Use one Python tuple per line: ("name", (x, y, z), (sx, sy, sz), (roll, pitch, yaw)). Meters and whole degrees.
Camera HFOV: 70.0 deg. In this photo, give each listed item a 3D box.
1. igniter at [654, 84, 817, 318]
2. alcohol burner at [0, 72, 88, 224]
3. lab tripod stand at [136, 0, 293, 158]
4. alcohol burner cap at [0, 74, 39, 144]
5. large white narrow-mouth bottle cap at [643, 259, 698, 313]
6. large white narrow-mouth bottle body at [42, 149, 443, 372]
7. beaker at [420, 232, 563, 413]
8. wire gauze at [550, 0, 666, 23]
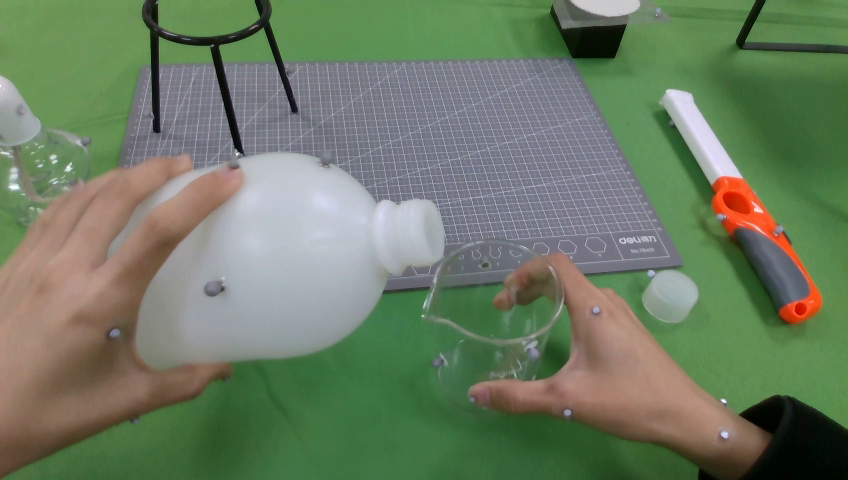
("igniter", (0.269, -0.048, 0.539), (0.057, 0.025, 0.273), (5, 49, -16))
("alcohol burner", (-0.290, -0.069, 0.435), (0.078, 0.120, 0.077), (4, 48, -4))
("lab tripod stand", (-0.161, -0.128, 0.482), (0.148, 0.132, 0.147), (5, 50, -5))
("alcohol burner cap", (-0.287, -0.091, 0.406), (0.034, 0.048, 0.033), (3, 56, -4))
("large white narrow-mouth bottle cap", (0.189, 0.035, 0.465), (0.038, 0.024, 0.037), (3, 50, -3))
("large white narrow-mouth bottle body", (-0.084, 0.009, 0.304), (0.194, 0.103, 0.101), (-9, 46, 21))
("beaker", (0.036, 0.057, 0.376), (0.084, 0.101, 0.073), (-16, 51, -15))
("wire gauze", (0.190, -0.276, 0.671), (0.122, 0.011, 0.123), (-2, 51, -11))
